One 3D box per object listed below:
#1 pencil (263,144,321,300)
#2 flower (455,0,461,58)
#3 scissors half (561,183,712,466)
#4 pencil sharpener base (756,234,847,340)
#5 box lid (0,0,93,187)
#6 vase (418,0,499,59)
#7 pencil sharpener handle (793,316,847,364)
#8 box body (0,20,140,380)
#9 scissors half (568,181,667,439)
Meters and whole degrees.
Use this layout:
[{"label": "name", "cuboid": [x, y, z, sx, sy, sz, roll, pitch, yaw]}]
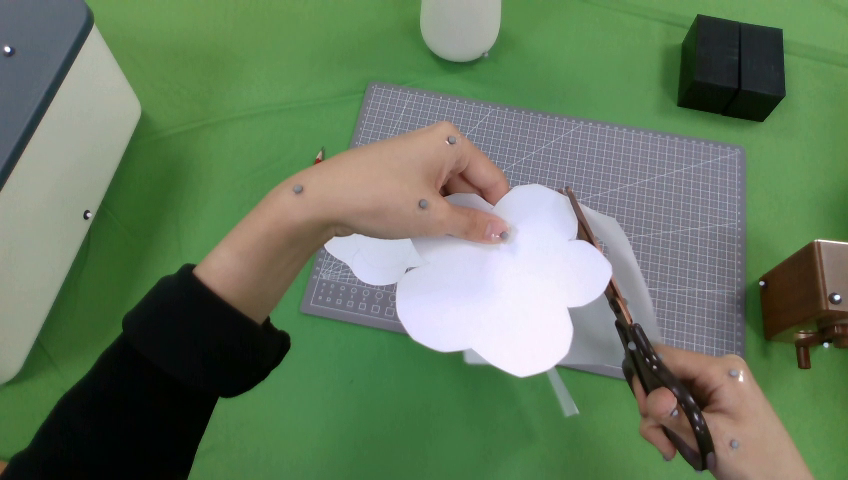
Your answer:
[{"label": "pencil", "cuboid": [-0.140, -0.025, 0.660, 0.012, 0.012, 0.193, 12, 66, 5]}, {"label": "flower", "cuboid": [0.037, -0.345, 0.605, 0.044, 0.365, 0.038, 4, 49, 5]}, {"label": "scissors half", "cuboid": [0.118, 0.046, 0.341, 0.013, 0.040, 0.174, -25, 85, -7]}, {"label": "pencil sharpener base", "cuboid": [0.376, 0.052, 0.581, 0.061, 0.108, 0.076, 7, 67, 2]}, {"label": "box lid", "cuboid": [-0.474, -0.095, 0.520, 0.263, 0.015, 0.369, 11, 67, 4]}, {"label": "vase", "cuboid": [0.041, -0.299, 0.676, 0.098, 0.201, 0.097, 0, 65, 1]}, {"label": "pencil sharpener handle", "cuboid": [0.366, 0.093, 0.550, 0.036, 0.068, 0.030, 12, 67, -11]}, {"label": "box body", "cuboid": [-0.475, -0.063, 0.588, 0.254, 0.161, 0.361, 11, 67, 4]}, {"label": "scissors half", "cuboid": [0.115, 0.044, 0.362, 0.013, 0.040, 0.176, -24, 108, -2]}]
